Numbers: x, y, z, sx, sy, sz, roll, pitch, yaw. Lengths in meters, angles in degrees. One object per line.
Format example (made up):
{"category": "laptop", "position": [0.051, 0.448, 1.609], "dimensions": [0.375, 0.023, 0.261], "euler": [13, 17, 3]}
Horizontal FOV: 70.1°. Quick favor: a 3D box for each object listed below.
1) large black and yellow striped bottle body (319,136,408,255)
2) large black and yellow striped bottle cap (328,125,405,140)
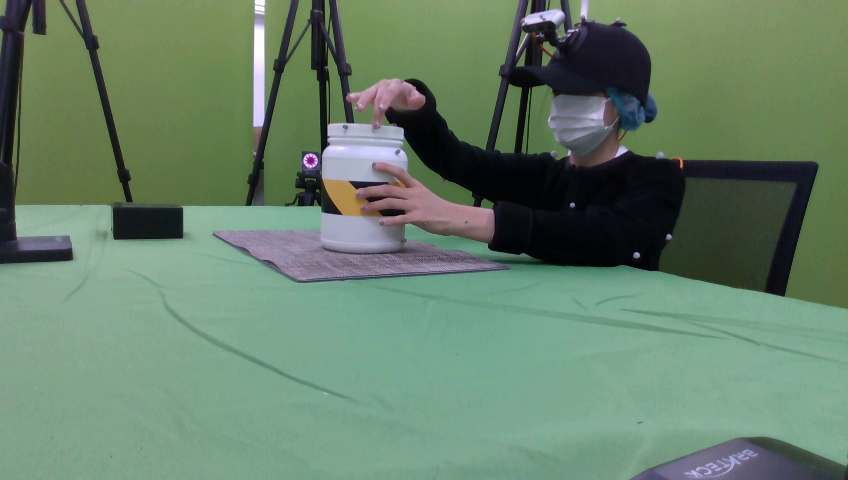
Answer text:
{"category": "large black and yellow striped bottle body", "position": [-0.092, -0.076, 0.921], "dimensions": [0.131, 0.184, 0.130], "euler": [3, 7, 0]}
{"category": "large black and yellow striped bottle cap", "position": [-0.086, -0.161, 0.910], "dimensions": [0.115, 0.019, 0.115], "euler": [1, 8, 0]}
